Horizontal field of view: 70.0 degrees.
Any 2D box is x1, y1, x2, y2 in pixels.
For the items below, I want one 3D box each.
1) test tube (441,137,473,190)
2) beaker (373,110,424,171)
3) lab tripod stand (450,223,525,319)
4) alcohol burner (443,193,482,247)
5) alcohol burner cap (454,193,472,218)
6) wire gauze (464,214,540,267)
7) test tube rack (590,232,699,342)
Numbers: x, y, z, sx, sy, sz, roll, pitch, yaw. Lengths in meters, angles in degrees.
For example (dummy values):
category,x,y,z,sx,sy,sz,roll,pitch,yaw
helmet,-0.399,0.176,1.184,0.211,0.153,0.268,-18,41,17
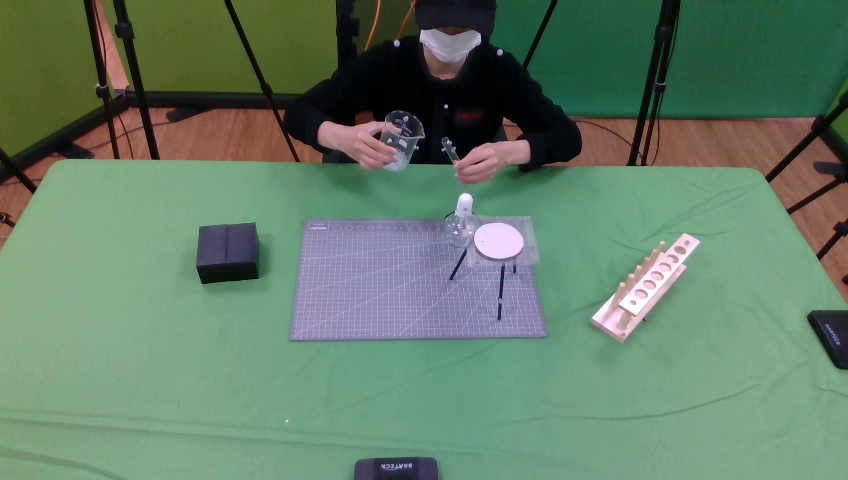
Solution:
category,x,y,z,sx,sy,sz,roll,pitch,yaw
test tube,0.067,-0.150,1.205,0.017,0.151,0.017,-14,51,18
beaker,-0.051,-0.188,1.170,0.084,0.100,0.073,26,49,-2
lab tripod stand,0.120,0.046,1.080,0.148,0.132,0.147,1,47,-1
alcohol burner,0.075,-0.044,1.177,0.078,0.120,0.077,2,44,-1
alcohol burner cap,0.076,-0.068,1.151,0.034,0.048,0.033,4,46,-4
wire gauze,0.131,-0.002,1.034,0.121,0.011,0.124,1,45,-2
test tube rack,0.407,0.074,1.112,0.066,0.085,0.242,35,53,26
